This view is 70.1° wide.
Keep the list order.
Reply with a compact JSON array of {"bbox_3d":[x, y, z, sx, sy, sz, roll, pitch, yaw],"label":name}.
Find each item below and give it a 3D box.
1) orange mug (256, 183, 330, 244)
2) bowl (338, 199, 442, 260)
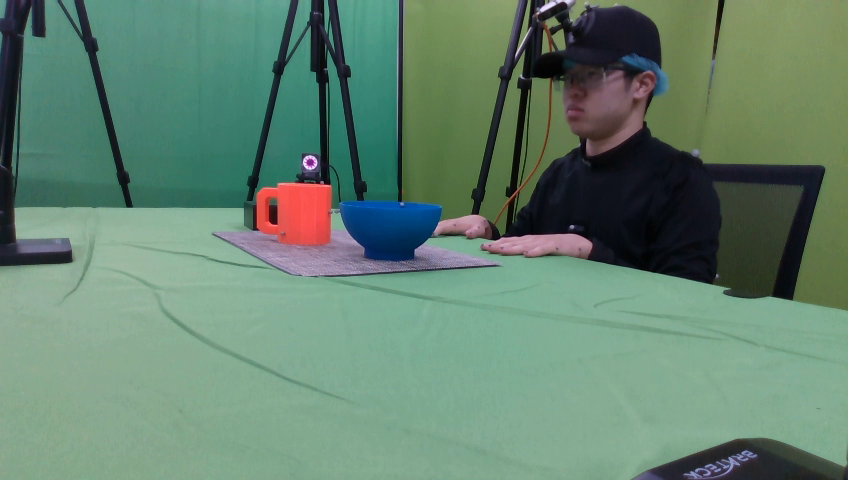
[{"bbox_3d":[-0.216,-0.047,0.999,0.126,0.100,0.083,7,8,8],"label":"orange mug"},{"bbox_3d":[-0.050,-0.015,0.878,0.151,0.077,0.151,2,8,0],"label":"bowl"}]
